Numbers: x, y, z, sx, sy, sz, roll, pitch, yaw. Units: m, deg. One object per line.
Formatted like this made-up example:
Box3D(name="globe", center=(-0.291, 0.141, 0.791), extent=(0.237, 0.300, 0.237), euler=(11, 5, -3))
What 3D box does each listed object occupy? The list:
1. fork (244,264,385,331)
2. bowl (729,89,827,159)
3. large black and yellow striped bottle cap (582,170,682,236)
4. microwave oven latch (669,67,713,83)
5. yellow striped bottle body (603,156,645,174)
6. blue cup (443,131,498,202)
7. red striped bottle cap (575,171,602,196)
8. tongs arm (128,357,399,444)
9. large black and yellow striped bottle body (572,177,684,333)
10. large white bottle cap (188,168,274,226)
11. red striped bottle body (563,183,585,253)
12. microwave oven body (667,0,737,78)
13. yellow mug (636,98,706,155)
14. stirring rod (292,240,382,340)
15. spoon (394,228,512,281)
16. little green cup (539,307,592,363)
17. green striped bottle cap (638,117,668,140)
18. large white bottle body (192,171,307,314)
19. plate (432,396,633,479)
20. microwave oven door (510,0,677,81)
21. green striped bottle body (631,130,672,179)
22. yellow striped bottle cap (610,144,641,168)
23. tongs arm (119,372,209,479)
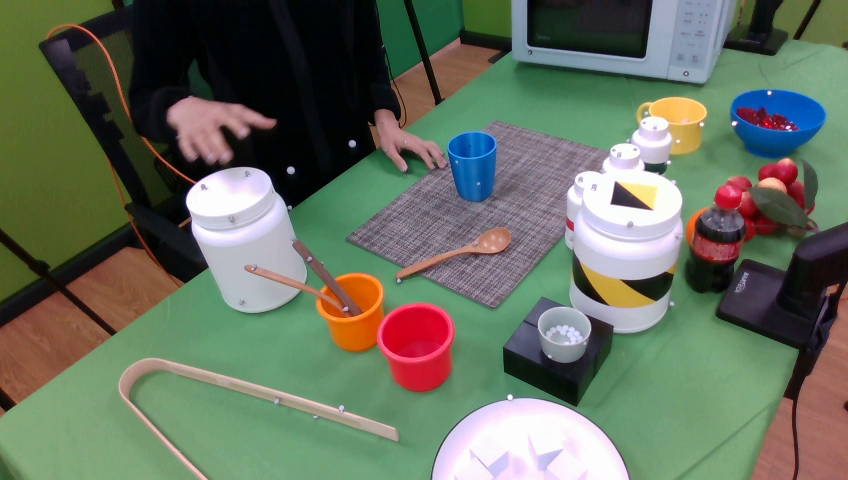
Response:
Box3D(name="fork", center=(-0.142, 0.078, 0.806), extent=(0.209, 0.018, 0.028), euler=(30, 33, -24))
Box3D(name="bowl", center=(0.615, -0.197, 1.069), extent=(0.151, 0.077, 0.150), euler=(-5, 40, 5))
Box3D(name="large black and yellow striped bottle cap", center=(0.252, -0.048, 0.735), extent=(0.115, 0.019, 0.114), euler=(-3, 40, 3))
Box3D(name="microwave oven latch", center=(0.556, -0.348, 1.262), extent=(0.078, 0.029, 0.030), euler=(15, 46, 26))
Box3D(name="yellow striped bottle body", center=(0.313, -0.089, 0.956), extent=(0.063, 0.121, 0.062), euler=(-4, 40, 4))
Box3D(name="blue cup", center=(0.086, -0.122, 1.040), extent=(0.092, 0.100, 0.092), euler=(-5, 42, 5))
Box3D(name="red striped bottle cap", center=(0.242, -0.081, 0.876), extent=(0.044, 0.018, 0.044), euler=(-5, 44, 5))
Box3D(name="tongs arm", center=(-0.213, 0.205, 0.755), extent=(0.382, 0.026, 0.051), euler=(12, 46, 23))
Box3D(name="large black and yellow striped bottle body", center=(0.262, 0.017, 0.788), extent=(0.131, 0.185, 0.130), euler=(-5, 40, 4))
Box3D(name="large white bottle cap", center=(-0.264, -0.061, 0.831), extent=(0.115, 0.018, 0.114), euler=(-4, 40, 4))
Box3D(name="red striped bottle body", center=(0.246, -0.041, 0.910), extent=(0.063, 0.120, 0.062), euler=(-2, 38, 2))
Box3D(name="microwave oven body", center=(0.462, -0.552, 1.369), extent=(0.439, 0.261, 0.326), euler=(15, 46, 26))
Box3D(name="yellow mug", center=(0.453, -0.218, 1.129), extent=(0.100, 0.064, 0.129), euler=(-35, 46, -26))
Box3D(name="stirring rod", center=(-0.118, 0.068, 0.825), extent=(0.176, 0.006, 0.014), euler=(49, 59, -3))
Box3D(name="spoon", center=(0.045, 0.024, 0.935), extent=(0.194, 0.022, 0.041), euler=(-18, 66, -11))
Box3D(name="little green cup", center=(0.168, 0.115, 0.721), extent=(0.061, 0.039, 0.061), euler=(-4, 42, 4))
Box3D(name="green striped bottle cap", center=(0.369, -0.180, 0.974), extent=(0.044, 0.020, 0.044), euler=(-4, 41, 4))
Box3D(name="large white bottle body", center=(-0.256, 0.003, 0.885), extent=(0.130, 0.185, 0.130), euler=(-5, 40, 4))
Box3D(name="plate", center=(0.112, 0.261, 0.634), extent=(0.209, 0.038, 0.208), euler=(-5, 40, 4))
Box3D(name="microwave oven door", center=(0.354, -0.478, 1.290), extent=(0.353, 0.245, 0.039), euler=(15, 45, 25))
Box3D(name="green striped bottle body", center=(0.375, -0.140, 1.007), extent=(0.063, 0.120, 0.063), euler=(-5, 40, 5))
Box3D(name="yellow striped bottle cap", center=(0.307, -0.128, 0.923), extent=(0.044, 0.019, 0.044), euler=(-6, 40, 5))
Box3D(name="tongs arm", center=(-0.258, 0.257, 0.700), extent=(0.384, 0.028, 0.028), euler=(24, 55, 34))
